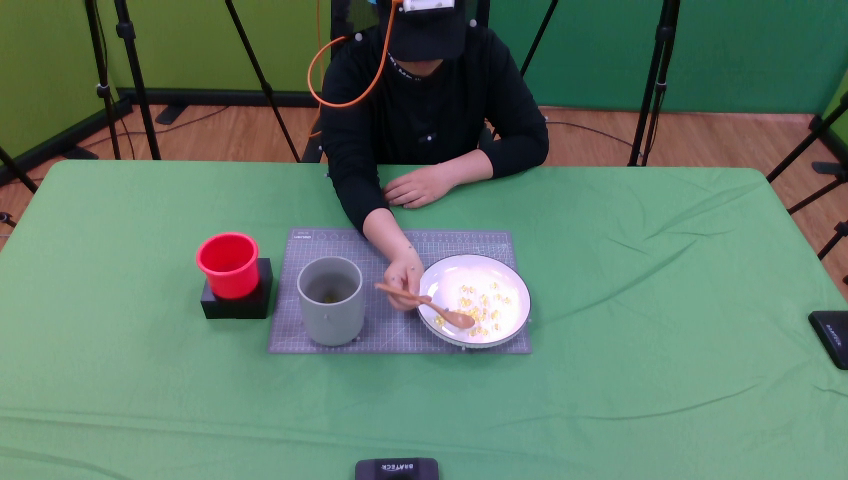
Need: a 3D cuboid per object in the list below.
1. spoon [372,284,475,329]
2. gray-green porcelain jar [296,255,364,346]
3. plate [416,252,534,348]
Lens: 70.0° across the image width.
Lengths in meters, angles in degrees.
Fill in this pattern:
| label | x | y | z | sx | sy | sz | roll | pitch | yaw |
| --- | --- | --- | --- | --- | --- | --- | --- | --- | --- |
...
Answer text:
| label | x | y | z | sx | sy | sz | roll | pitch | yaw |
| --- | --- | --- | --- | --- | --- | --- | --- | --- | --- |
| spoon | 0.001 | 0.108 | 1.008 | 0.194 | 0.021 | 0.041 | 27 | 27 | -22 |
| gray-green porcelain jar | -0.153 | 0.106 | 1.008 | 0.106 | 0.127 | 0.105 | 2 | 46 | -2 |
| plate | 0.090 | 0.109 | 1.084 | 0.208 | 0.039 | 0.206 | 2 | 46 | -2 |
